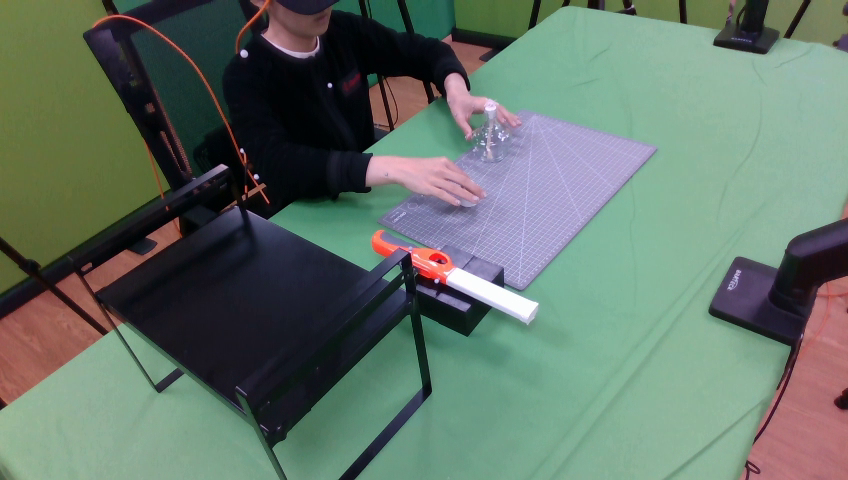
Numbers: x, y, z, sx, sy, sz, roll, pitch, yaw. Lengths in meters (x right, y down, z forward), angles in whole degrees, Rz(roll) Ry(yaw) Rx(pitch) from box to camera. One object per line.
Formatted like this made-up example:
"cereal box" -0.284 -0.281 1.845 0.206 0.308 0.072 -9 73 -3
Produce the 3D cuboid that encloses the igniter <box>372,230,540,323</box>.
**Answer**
"igniter" 0.032 0.045 0.842 0.274 0.025 0.057 24 47 28

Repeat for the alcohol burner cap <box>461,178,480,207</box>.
"alcohol burner cap" 0.079 -0.084 1.041 0.034 0.048 0.033 -3 41 3

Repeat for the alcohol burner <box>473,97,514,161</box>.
"alcohol burner" 0.128 -0.208 1.124 0.078 0.119 0.077 -5 38 4
